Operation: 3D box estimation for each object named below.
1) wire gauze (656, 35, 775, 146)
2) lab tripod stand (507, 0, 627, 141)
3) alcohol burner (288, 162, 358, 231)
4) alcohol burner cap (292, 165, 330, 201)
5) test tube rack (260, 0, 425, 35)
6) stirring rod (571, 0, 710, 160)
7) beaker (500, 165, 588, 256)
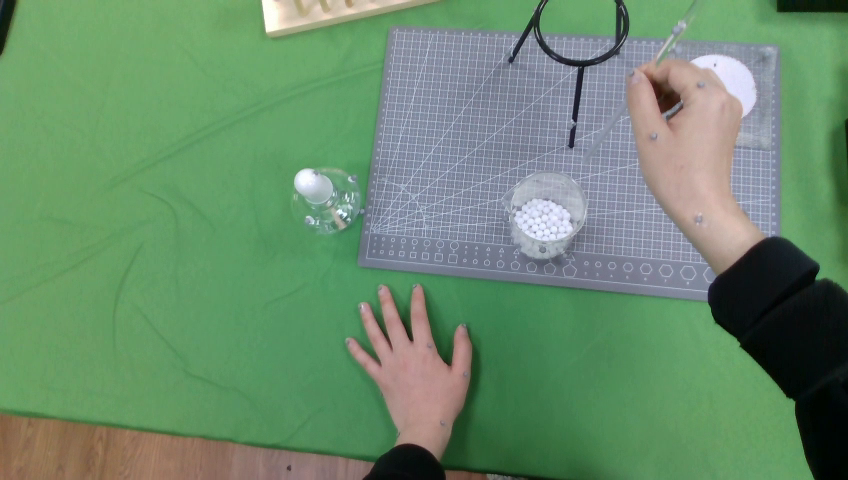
[{"bbox_3d":[0.325,-0.172,0.677,0.125,0.011,0.121,10,79,5],"label":"wire gauze"},{"bbox_3d":[0.155,-0.195,0.635,0.148,0.132,0.148,-1,80,4],"label":"lab tripod stand"},{"bbox_3d":[-0.112,-0.052,0.648,0.078,0.120,0.077,-1,76,5],"label":"alcohol burner"},{"bbox_3d":[-0.117,-0.060,0.613,0.034,0.048,0.033,-1,82,6],"label":"alcohol burner cap"},{"bbox_3d":[-0.086,-0.318,0.713,0.242,0.085,0.066,-11,77,3],"label":"test tube rack"},{"bbox_3d":[0.152,-0.113,0.447,0.014,0.177,0.006,28,59,1],"label":"stirring rod"},{"bbox_3d":[0.119,-0.026,0.623,0.084,0.101,0.073,11,79,9],"label":"beaker"}]
